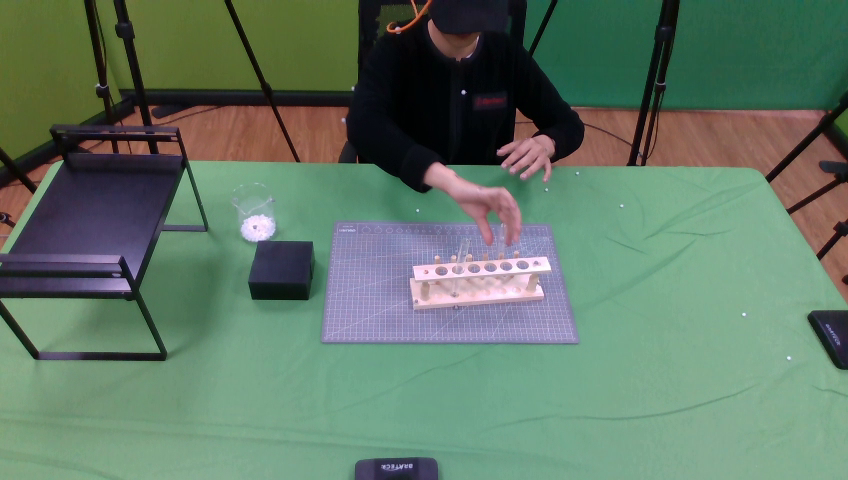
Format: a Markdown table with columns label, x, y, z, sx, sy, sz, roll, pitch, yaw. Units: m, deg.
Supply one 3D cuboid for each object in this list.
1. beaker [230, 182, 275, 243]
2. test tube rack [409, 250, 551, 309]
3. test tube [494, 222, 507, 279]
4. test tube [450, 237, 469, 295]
| label | x | y | z | sx | sy | sz | roll | pitch | yaw |
| --- | --- | --- | --- | --- | --- | --- | --- | --- | --- |
| beaker | -0.328 | -0.049 | 1.166 | 0.074 | 0.101 | 0.083 | 2 | 47 | -2 |
| test tube rack | 0.098 | 0.065 | 1.096 | 0.243 | 0.085 | 0.066 | -4 | 47 | -8 |
| test tube | 0.135 | 0.021 | 1.080 | 0.017 | 0.151 | 0.017 | -1 | 51 | 2 |
| test tube | 0.060 | 0.048 | 1.040 | 0.017 | 0.151 | 0.017 | 3 | 51 | -4 |
